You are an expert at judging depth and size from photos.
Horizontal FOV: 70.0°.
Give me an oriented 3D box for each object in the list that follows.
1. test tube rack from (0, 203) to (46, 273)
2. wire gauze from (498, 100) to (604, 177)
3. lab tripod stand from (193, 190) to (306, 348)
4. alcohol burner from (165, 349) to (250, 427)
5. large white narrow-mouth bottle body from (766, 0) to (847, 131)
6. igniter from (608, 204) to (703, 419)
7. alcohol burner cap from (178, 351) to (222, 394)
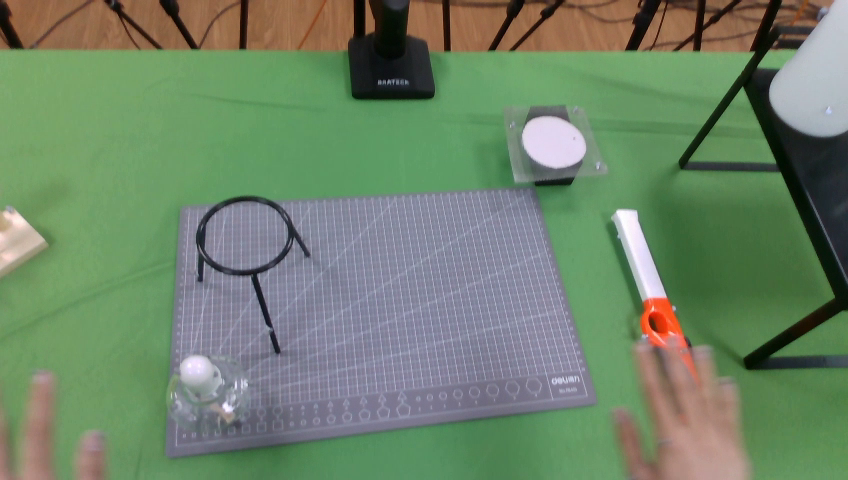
[{"bbox_3d":[-0.529,0.035,0.609,0.066,0.086,0.242,39,62,15],"label":"test tube rack"},{"bbox_3d":[0.163,-0.136,0.791,0.122,0.011,0.124,-3,61,-9],"label":"wire gauze"},{"bbox_3d":[-0.178,0.024,0.631,0.149,0.132,0.147,4,60,-7],"label":"lab tripod stand"},{"bbox_3d":[-0.207,0.134,0.574,0.078,0.120,0.077,4,57,-7],"label":"alcohol burner"},{"bbox_3d":[0.441,-0.207,0.607,0.102,0.196,0.101,3,59,-5],"label":"large white narrow-mouth bottle body"},{"bbox_3d":[0.274,0.076,0.727,0.057,0.025,0.274,2,59,-19],"label":"igniter"},{"bbox_3d":[-0.203,0.117,0.543,0.034,0.048,0.033,3,65,-6],"label":"alcohol burner cap"}]
